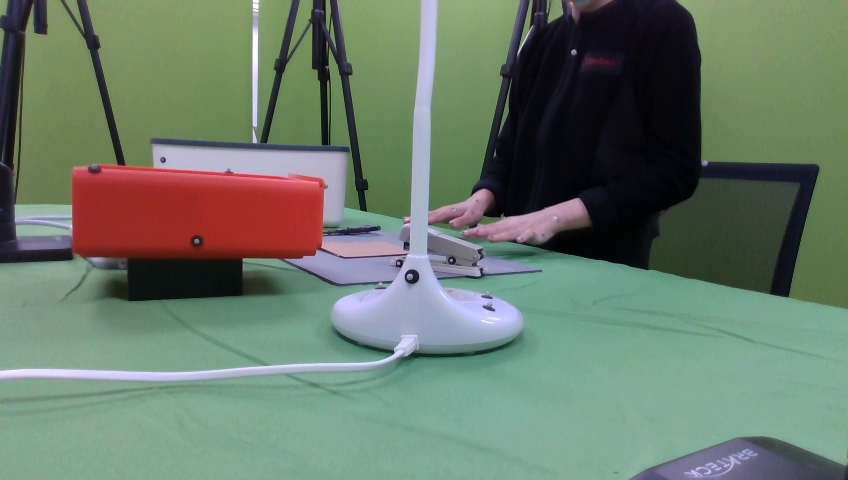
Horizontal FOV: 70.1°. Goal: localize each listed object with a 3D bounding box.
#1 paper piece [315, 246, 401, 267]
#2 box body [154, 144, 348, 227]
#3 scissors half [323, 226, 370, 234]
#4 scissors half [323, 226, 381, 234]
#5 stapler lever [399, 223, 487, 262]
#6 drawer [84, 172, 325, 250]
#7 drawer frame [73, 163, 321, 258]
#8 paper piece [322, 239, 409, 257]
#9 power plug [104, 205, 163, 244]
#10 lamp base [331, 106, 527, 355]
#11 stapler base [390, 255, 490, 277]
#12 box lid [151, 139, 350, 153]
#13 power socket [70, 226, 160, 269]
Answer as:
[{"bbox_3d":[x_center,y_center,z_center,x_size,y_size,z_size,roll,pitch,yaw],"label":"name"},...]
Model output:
[{"bbox_3d":[-0.101,0.021,0.918,0.136,0.004,0.135,2,13,-22],"label":"paper piece"},{"bbox_3d":[-0.357,-0.119,1.264,0.365,0.160,0.253,0,7,-18],"label":"box body"},{"bbox_3d":[-0.166,-0.015,1.094,0.040,0.013,0.176,3,6,40],"label":"scissors half"},{"bbox_3d":[-0.153,-0.015,1.079,0.176,0.013,0.040,-5,1,-34],"label":"scissors half"},{"bbox_3d":[0.022,0.003,0.776,0.117,0.040,0.027,7,12,25],"label":"stapler lever"},{"bbox_3d":[-0.227,-0.036,0.638,0.213,0.073,0.193,-1,9,-23],"label":"drawer"},{"bbox_3d":[-0.232,-0.034,0.635,0.214,0.082,0.201,1,8,-23],"label":"drawer frame"},{"bbox_3d":[-0.091,0.011,0.920,0.139,0.008,0.135,1,11,-34],"label":"paper piece"},{"bbox_3d":[-0.390,-0.021,0.815,0.073,0.052,0.035,-1,8,-27],"label":"power plug"},{"bbox_3d":[0.006,-0.012,0.478,0.161,0.180,0.179,2,10,2],"label":"lamp base"},{"bbox_3d":[0.020,0.027,0.779,0.130,0.024,0.041,7,12,25],"label":"stapler base"},{"bbox_3d":[-0.352,-0.191,1.256,0.373,0.015,0.262,0,8,-18],"label":"box lid"},{"bbox_3d":[-0.409,0.004,0.793,0.072,0.032,0.225,-2,8,-38],"label":"power socket"}]
